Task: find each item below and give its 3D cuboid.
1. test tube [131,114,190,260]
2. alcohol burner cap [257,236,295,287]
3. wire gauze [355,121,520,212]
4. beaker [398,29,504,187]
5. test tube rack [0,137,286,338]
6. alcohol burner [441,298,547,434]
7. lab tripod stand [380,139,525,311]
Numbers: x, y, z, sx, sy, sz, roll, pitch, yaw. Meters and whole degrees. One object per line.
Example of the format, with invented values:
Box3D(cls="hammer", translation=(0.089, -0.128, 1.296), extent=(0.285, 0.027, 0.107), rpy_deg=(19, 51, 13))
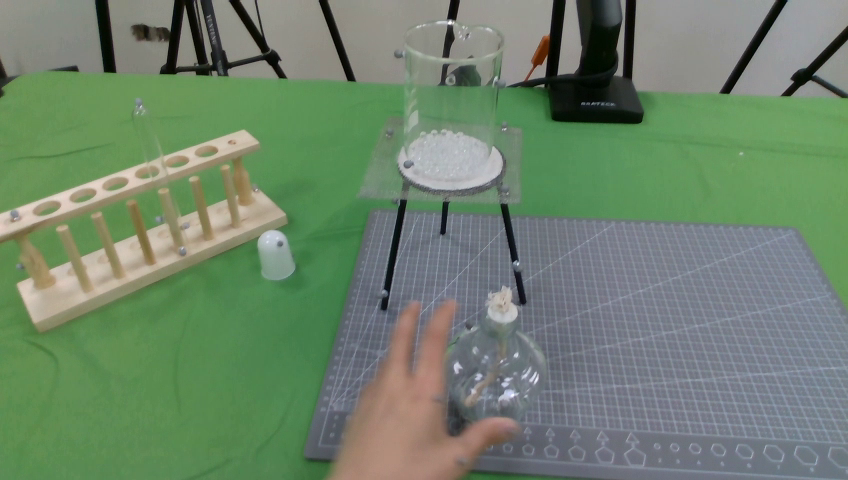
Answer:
Box3D(cls="test tube", translation=(-0.236, -0.044, 0.546), extent=(0.017, 0.151, 0.017), rpy_deg=(1, 38, 0))
Box3D(cls="alcohol burner cap", translation=(-0.143, 0.017, 0.577), extent=(0.034, 0.048, 0.033), rpy_deg=(0, 40, 0))
Box3D(cls="wire gauze", translation=(0.016, -0.060, 0.488), extent=(0.121, 0.011, 0.124), rpy_deg=(5, 41, 5))
Box3D(cls="beaker", translation=(0.019, -0.099, 0.459), extent=(0.074, 0.101, 0.083), rpy_deg=(10, 40, 10))
Box3D(cls="test tube rack", translation=(-0.260, -0.011, 0.577), extent=(0.242, 0.086, 0.066), rpy_deg=(-27, 46, -29))
Box3D(cls="alcohol burner", translation=(0.051, 0.084, 0.432), extent=(0.078, 0.120, 0.077), rpy_deg=(0, 41, 0))
Box3D(cls="lab tripod stand", translation=(0.025, -0.010, 0.531), extent=(0.148, 0.132, 0.147), rpy_deg=(1, 38, -1))
